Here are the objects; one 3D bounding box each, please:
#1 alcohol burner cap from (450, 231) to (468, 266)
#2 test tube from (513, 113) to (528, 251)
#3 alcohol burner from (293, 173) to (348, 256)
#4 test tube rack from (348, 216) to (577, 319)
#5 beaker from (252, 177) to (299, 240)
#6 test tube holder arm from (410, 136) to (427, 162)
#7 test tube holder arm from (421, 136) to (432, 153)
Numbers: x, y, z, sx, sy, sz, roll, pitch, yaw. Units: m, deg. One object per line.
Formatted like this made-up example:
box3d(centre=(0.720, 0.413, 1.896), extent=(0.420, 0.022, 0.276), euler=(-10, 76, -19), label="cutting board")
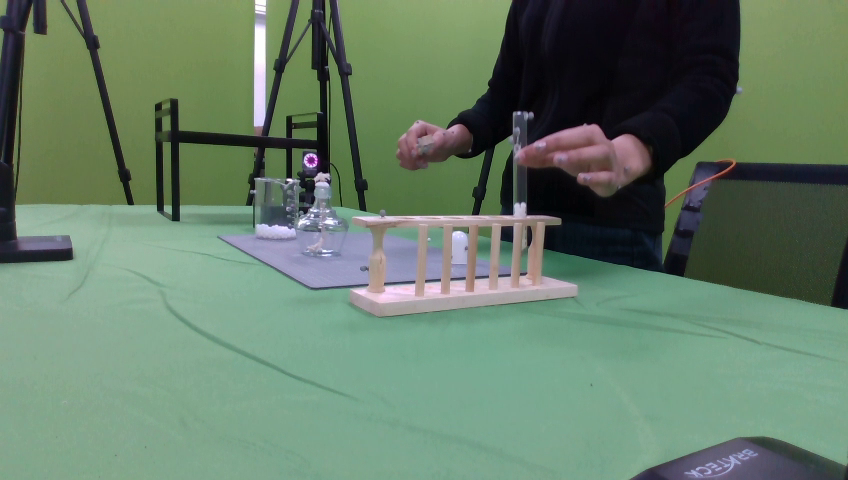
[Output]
box3d(centre=(0.046, 0.011, 0.838), extent=(0.034, 0.048, 0.034), euler=(3, 6, 0), label="alcohol burner cap")
box3d(centre=(0.104, -0.061, 0.658), extent=(0.017, 0.150, 0.017), euler=(-2, 10, 1), label="test tube")
box3d(centre=(-0.147, -0.036, 0.859), extent=(0.078, 0.119, 0.078), euler=(4, 8, 0), label="alcohol burner")
box3d(centre=(0.048, 0.021, 0.619), extent=(0.244, 0.085, 0.066), euler=(-2, 8, -31), label="test tube rack")
box3d(centre=(-0.245, -0.052, 1.005), extent=(0.074, 0.100, 0.083), euler=(-2, 10, -32), label="beaker")
box3d(centre=(-0.010, -0.144, 0.968), extent=(0.013, 0.015, 0.178), euler=(-6, 0, -8), label="test tube holder arm")
box3d(centre=(0.001, -0.145, 0.924), extent=(0.010, 0.015, 0.087), euler=(-6, 0, -7), label="test tube holder arm")
